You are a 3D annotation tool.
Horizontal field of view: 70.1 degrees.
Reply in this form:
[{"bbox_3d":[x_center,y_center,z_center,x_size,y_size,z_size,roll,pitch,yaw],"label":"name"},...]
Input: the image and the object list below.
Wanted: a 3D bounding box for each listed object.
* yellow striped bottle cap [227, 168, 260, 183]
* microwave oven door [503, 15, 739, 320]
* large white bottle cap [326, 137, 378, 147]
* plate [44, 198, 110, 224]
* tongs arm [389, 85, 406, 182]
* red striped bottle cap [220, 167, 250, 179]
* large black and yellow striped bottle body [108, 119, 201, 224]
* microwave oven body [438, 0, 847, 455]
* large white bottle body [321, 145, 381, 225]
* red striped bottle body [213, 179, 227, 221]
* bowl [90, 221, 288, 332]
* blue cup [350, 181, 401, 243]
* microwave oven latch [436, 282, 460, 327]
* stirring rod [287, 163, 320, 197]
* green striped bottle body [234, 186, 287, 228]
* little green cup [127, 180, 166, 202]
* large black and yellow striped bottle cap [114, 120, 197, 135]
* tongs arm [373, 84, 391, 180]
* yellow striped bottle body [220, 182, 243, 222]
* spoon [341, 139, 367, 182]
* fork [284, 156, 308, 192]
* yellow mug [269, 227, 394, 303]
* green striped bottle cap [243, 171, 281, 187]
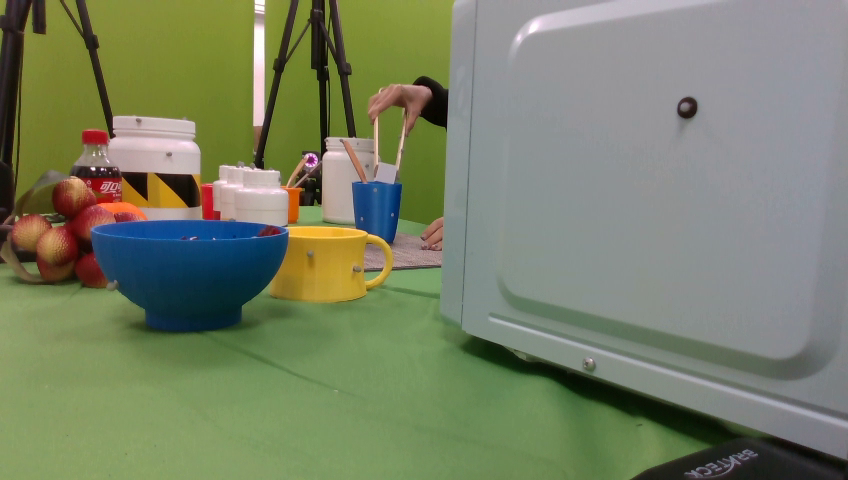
[{"bbox_3d":[-0.243,-0.087,0.818,0.044,0.018,0.044,3,6,0],"label":"yellow striped bottle cap"},{"bbox_3d":[0.218,-0.065,0.600,0.358,0.243,0.039,-4,10,-41],"label":"microwave oven door"},{"bbox_3d":[-0.158,-0.214,1.329,0.115,0.018,0.115,2,7,0],"label":"large white bottle cap"},{"bbox_3d":[-0.617,-0.056,1.179,0.209,0.038,0.209,3,7,0],"label":"plate"},{"bbox_3d":[-0.060,-0.212,1.145,0.051,0.026,0.384,14,33,-5],"label":"tongs arm"},{"bbox_3d":[-0.281,-0.100,0.901,0.044,0.017,0.044,-1,5,0],"label":"red striped bottle cap"},{"bbox_3d":[-0.412,-0.088,0.930,0.131,0.184,0.130,3,7,0],"label":"large black and yellow striped bottle body"},{"bbox_3d":[0.280,-0.039,0.464,0.444,0.260,0.324,-3,8,-41],"label":"microwave oven body"},{"bbox_3d":[-0.162,-0.131,1.341,0.131,0.184,0.130,2,8,0],"label":"large white bottle body"},{"bbox_3d":[-0.284,-0.048,0.909,0.063,0.119,0.063,3,12,0],"label":"red striped bottle body"},{"bbox_3d":[-0.190,0.029,0.500,0.151,0.077,0.151,3,7,0],"label":"bowl"},{"bbox_3d":[-0.080,-0.047,1.010,0.093,0.100,0.092,0,6,0],"label":"blue cup"},{"bbox_3d":[0.045,0.046,0.470,0.079,0.029,0.030,-3,8,-41],"label":"microwave oven latch"},{"bbox_3d":[-0.283,-0.107,1.298,0.014,0.006,0.176,10,52,51],"label":"stirring rod"},{"bbox_3d":[-0.200,-0.023,0.743,0.063,0.119,0.063,2,7,0],"label":"green striped bottle body"},{"bbox_3d":[-0.485,-0.086,1.061,0.061,0.038,0.061,1,7,0],"label":"little green cup"},{"bbox_3d":[-0.407,-0.171,0.920,0.115,0.019,0.115,2,9,0],"label":"large black and yellow striped bottle cap"},{"bbox_3d":[-0.081,-0.216,1.141,0.028,0.028,0.386,9,34,-7],"label":"tongs arm"},{"bbox_3d":[-0.245,-0.036,0.825,0.063,0.120,0.063,3,8,0],"label":"yellow striped bottle body"},{"bbox_3d":[-0.102,-0.090,1.027,0.021,0.193,0.042,-31,-17,38],"label":"spoon"},{"bbox_3d":[-0.295,-0.116,1.323,0.028,0.019,0.207,1,50,21],"label":"fork"},{"bbox_3d":[-0.094,0.023,0.629,0.131,0.064,0.099,0,7,-22],"label":"yellow mug"},{"bbox_3d":[-0.198,-0.074,0.736,0.044,0.020,0.044,1,7,0],"label":"green striped bottle cap"}]
